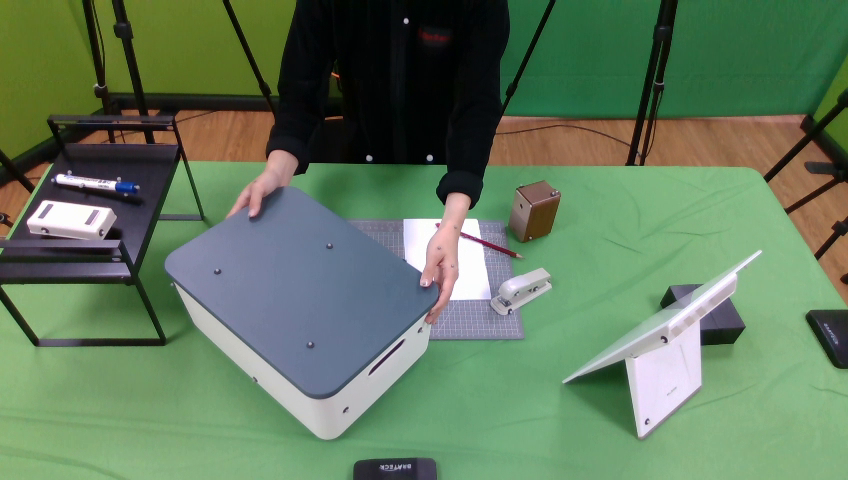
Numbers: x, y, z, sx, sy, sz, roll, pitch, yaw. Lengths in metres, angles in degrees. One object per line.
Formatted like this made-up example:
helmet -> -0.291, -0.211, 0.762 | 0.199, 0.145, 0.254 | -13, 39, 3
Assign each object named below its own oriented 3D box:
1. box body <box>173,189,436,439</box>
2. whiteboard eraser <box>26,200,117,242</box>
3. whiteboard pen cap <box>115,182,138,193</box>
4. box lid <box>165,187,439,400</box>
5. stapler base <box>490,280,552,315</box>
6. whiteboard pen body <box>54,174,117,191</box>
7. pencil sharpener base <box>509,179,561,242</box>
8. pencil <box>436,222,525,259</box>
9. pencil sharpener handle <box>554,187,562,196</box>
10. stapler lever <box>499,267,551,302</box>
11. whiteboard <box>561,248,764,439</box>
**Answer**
box body -> -0.191, 0.109, 0.979 | 0.362, 0.161, 0.254 | 33, 53, 24
whiteboard eraser -> -0.532, -0.026, 0.919 | 0.113, 0.042, 0.055 | 7, 45, 3
whiteboard pen cap -> -0.483, -0.086, 0.984 | 0.033, 0.018, 0.018 | 6, 46, 10
box lid -> -0.186, 0.060, 0.925 | 0.370, 0.015, 0.263 | 32, 53, 25
stapler base -> 0.181, 0.094, 1.118 | 0.130, 0.024, 0.041 | -24, 57, -29
whiteboard pen body -> -0.541, -0.093, 0.993 | 0.140, 0.017, 0.017 | 7, 46, 9
pencil sharpener base -> 0.222, -0.059, 1.212 | 0.077, 0.107, 0.061 | -18, 50, -21
pencil -> 0.112, 0.001, 1.211 | 0.193, 0.012, 0.012 | 22, 49, 14
pencil sharpener handle -> 0.266, -0.085, 1.223 | 0.031, 0.068, 0.036 | -18, 64, -21
stapler lever -> 0.185, 0.076, 1.101 | 0.118, 0.040, 0.026 | -25, 57, -29
whiteboard -> 0.386, 0.176, 0.905 | 0.217, 0.306, 0.143 | -26, 72, -27
